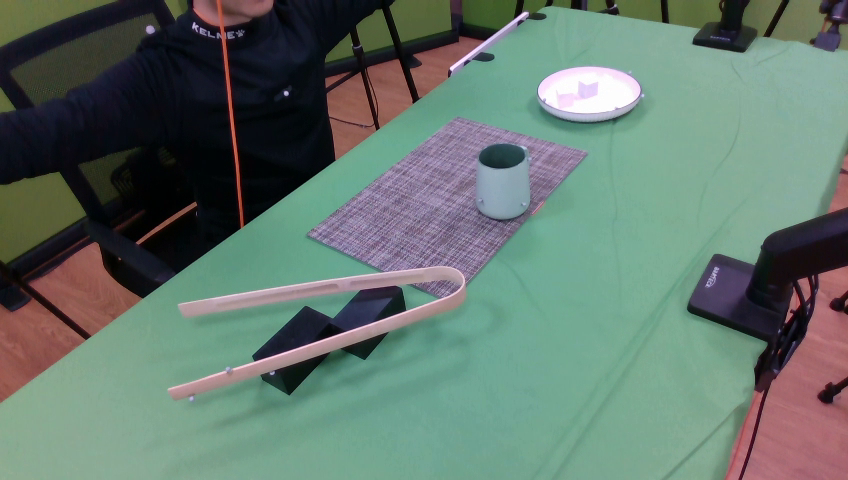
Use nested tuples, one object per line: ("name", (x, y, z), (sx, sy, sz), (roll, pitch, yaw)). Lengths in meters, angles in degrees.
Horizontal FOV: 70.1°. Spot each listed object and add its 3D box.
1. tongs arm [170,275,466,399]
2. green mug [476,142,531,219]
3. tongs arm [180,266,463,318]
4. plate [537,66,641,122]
("tongs arm", (-0.122, 0.120, 0.768), (0.386, 0.026, 0.050), (-15, 38, -10))
("green mug", (0.140, -0.106, 1.002), (0.092, 0.105, 0.125), (21, 48, 30))
("tongs arm", (-0.139, 0.073, 0.827), (0.388, 0.028, 0.028), (-8, 34, 0))
("plate", (0.338, -0.299, 1.255), (0.209, 0.038, 0.208), (-4, 41, 4))
